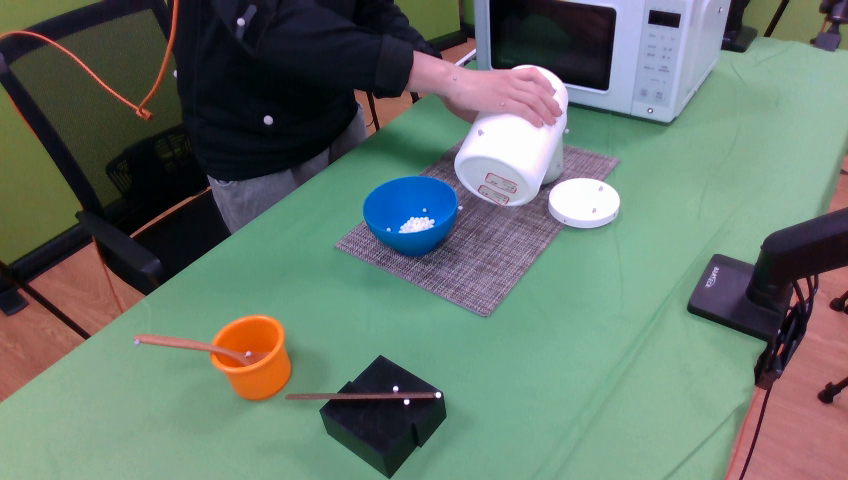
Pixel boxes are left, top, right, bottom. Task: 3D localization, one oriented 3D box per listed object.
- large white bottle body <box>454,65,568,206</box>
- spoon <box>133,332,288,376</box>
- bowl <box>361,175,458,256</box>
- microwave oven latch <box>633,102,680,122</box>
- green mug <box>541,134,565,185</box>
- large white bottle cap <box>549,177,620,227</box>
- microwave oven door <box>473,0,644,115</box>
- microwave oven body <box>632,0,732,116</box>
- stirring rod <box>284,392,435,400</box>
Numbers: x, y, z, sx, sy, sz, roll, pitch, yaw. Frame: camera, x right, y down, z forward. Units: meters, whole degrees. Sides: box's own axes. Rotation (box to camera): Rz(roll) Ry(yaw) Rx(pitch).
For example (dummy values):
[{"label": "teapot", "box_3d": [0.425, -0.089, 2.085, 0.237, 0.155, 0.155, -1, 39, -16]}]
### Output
[{"label": "large white bottle body", "box_3d": [0.138, -0.159, 0.910, 0.130, 0.131, 0.184, 15, 63, 24]}, {"label": "spoon", "box_3d": [-0.257, 0.137, 0.747, 0.021, 0.195, 0.041, -47, 40, 23]}, {"label": "bowl", "box_3d": [-0.019, -0.028, 0.955, 0.151, 0.077, 0.150, -3, 40, 3]}, {"label": "microwave oven latch", "box_3d": [0.443, -0.249, 1.157, 0.078, 0.029, 0.030, 21, 48, 30]}, {"label": "green mug", "box_3d": [0.185, -0.161, 1.061, 0.124, 0.105, 0.092, 15, 46, 25]}, {"label": "large white bottle cap", "box_3d": [0.265, -0.064, 1.000, 0.115, 0.018, 0.114, -1, 42, 1]}, {"label": "microwave oven door", "box_3d": [0.257, -0.396, 1.199, 0.353, 0.245, 0.039, 21, 48, 29]}, {"label": "microwave oven body", "box_3d": [0.377, -0.462, 1.267, 0.438, 0.261, 0.327, 21, 48, 30]}, {"label": "stirring rod", "box_3d": [-0.075, 0.180, 0.698, 0.176, 0.006, 0.014, -2, 6, 7]}]
